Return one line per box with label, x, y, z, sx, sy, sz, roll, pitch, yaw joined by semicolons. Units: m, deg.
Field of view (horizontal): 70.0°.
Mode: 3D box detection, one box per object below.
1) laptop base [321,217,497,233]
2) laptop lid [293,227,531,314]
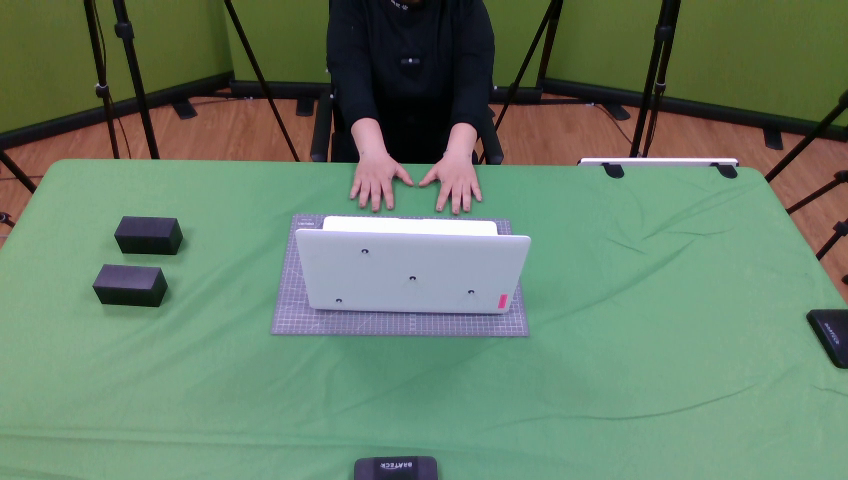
laptop base;-0.028;0.044;1.154;0.354;0.023;0.234;2;42;-3
laptop lid;-0.021;0.057;0.976;0.357;0.243;0.013;2;53;-4
